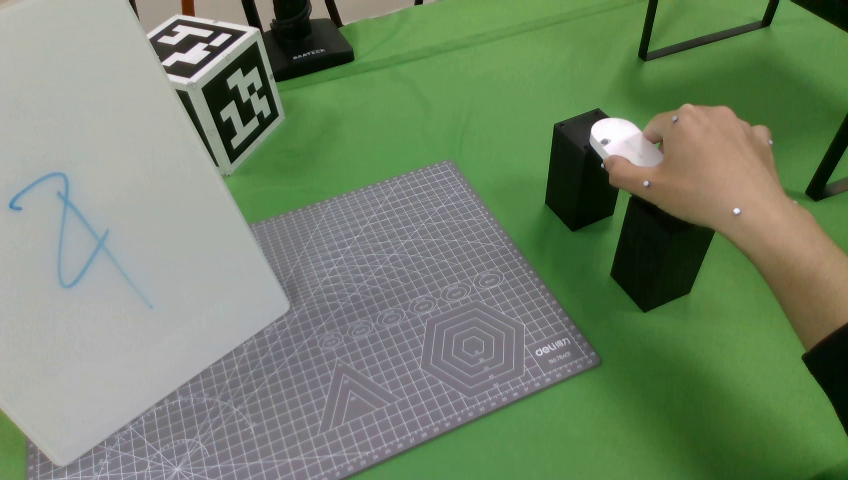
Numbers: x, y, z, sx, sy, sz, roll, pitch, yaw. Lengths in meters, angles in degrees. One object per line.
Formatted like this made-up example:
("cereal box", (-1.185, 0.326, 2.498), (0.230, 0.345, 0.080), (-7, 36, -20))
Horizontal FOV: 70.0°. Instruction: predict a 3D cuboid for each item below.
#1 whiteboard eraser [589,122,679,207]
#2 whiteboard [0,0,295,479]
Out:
("whiteboard eraser", (0.176, -0.067, 0.512), (0.041, 0.019, 0.100), (-16, 48, -11))
("whiteboard", (-0.282, -0.015, 0.482), (0.217, 0.308, 0.142), (-36, 34, -25))
